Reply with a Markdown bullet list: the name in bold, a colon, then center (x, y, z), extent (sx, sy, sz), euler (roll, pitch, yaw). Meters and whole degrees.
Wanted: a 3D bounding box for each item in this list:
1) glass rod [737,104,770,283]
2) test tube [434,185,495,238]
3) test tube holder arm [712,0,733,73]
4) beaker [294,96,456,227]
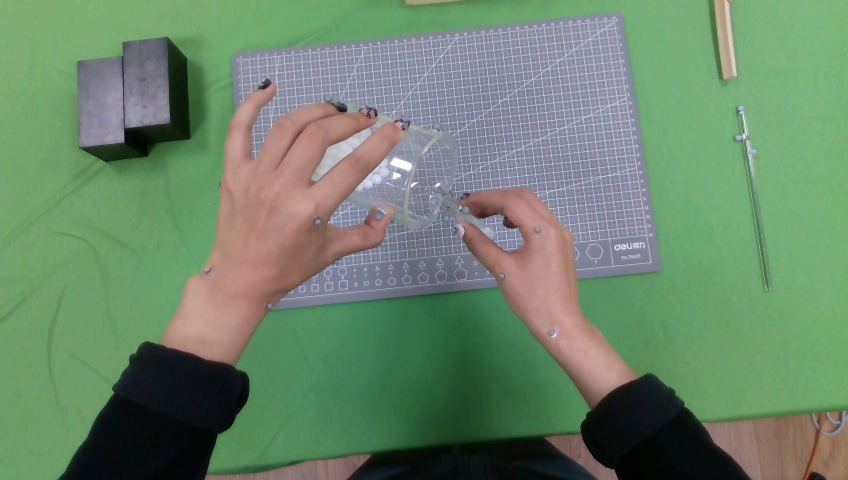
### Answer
- **glass rod**: center (0.356, -0.053, 0.657), extent (0.008, 0.008, 0.199), euler (-4, 82, 1)
- **test tube**: center (0.040, -0.021, 0.537), extent (0.017, 0.151, 0.017), euler (-4, 78, 19)
- **test tube holder arm**: center (0.334, -0.275, 0.682), extent (0.013, 0.015, 0.178), euler (4, 81, -27)
- **beaker**: center (-0.036, -0.060, 0.448), extent (0.099, 0.084, 0.074), euler (22, 85, 20)
